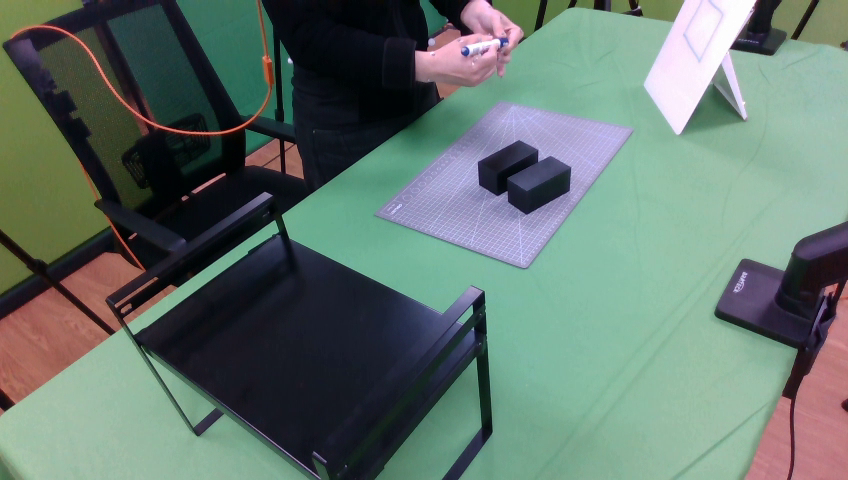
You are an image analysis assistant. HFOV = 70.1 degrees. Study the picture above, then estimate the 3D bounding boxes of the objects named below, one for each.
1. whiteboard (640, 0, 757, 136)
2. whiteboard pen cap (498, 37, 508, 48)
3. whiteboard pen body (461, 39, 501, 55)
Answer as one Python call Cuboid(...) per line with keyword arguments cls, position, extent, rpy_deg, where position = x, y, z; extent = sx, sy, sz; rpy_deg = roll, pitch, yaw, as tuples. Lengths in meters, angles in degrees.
Cuboid(cls="whiteboard", position=(0.576, -0.366, 1.147), extent=(0.144, 0.305, 0.216), rpy_deg=(10, 39, -10))
Cuboid(cls="whiteboard pen cap", position=(0.135, -0.350, 1.072), extent=(0.018, 0.018, 0.033), rpy_deg=(18, 30, 27))
Cuboid(cls="whiteboard pen body", position=(0.104, -0.329, 1.026), extent=(0.017, 0.017, 0.141), rpy_deg=(20, 31, 28))
